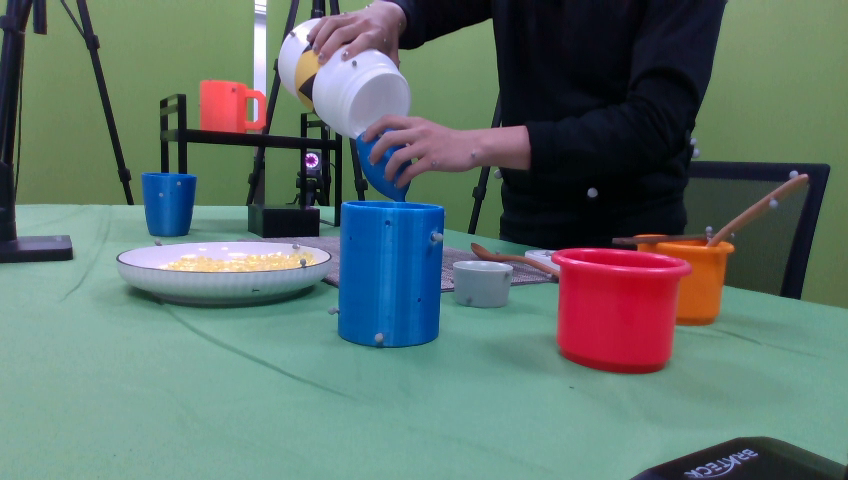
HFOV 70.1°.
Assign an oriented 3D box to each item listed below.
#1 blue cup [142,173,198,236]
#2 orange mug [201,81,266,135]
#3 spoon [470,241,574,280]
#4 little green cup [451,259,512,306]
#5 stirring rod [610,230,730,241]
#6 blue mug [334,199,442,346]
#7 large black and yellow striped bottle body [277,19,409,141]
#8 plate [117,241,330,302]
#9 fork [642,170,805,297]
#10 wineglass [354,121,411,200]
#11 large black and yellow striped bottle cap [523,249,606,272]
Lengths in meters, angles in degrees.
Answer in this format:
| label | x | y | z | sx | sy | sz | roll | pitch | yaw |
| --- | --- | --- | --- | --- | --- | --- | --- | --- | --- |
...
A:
| label | x | y | z | sx | sy | sz | roll | pitch | yaw |
| --- | --- | --- | --- | --- | --- | --- | --- | --- | --- |
| blue cup | -0.425 | -0.060 | 1.014 | 0.093 | 0.100 | 0.092 | 4 | 9 | 0 |
| orange mug | -0.377 | -0.260 | 1.198 | 0.126 | 0.101 | 0.083 | -3 | 8 | -6 |
| spoon | 0.124 | 0.025 | 0.800 | 0.042 | 0.021 | 0.192 | 23 | -6 | -34 |
| little green cup | 0.057 | 0.043 | 0.611 | 0.061 | 0.038 | 0.061 | 3 | 8 | 0 |
| stirring rod | 0.241 | -0.005 | 0.582 | 0.177 | 0.006 | 0.014 | -3 | 10 | -34 |
| blue mug | -0.034 | 0.020 | 0.498 | 0.083 | 0.106 | 0.116 | 0 | 7 | -20 |
| large black and yellow striped bottle body | -0.118 | -0.235 | 0.897 | 0.131 | 0.130 | 0.183 | -5 | 37 | -45 |
| plate | -0.203 | 0.031 | 0.630 | 0.209 | 0.038 | 0.209 | 3 | 7 | 0 |
| fork | 0.261 | 0.003 | 0.545 | 0.028 | 0.018 | 0.207 | 5 | -37 | -16 |
| wineglass | -0.041 | -0.075 | 0.844 | 0.074 | 0.172 | 0.074 | -20 | -11 | -4 |
| large black and yellow striped bottle cap | 0.198 | 0.028 | 0.851 | 0.115 | 0.019 | 0.115 | 5 | 5 | 0 |
